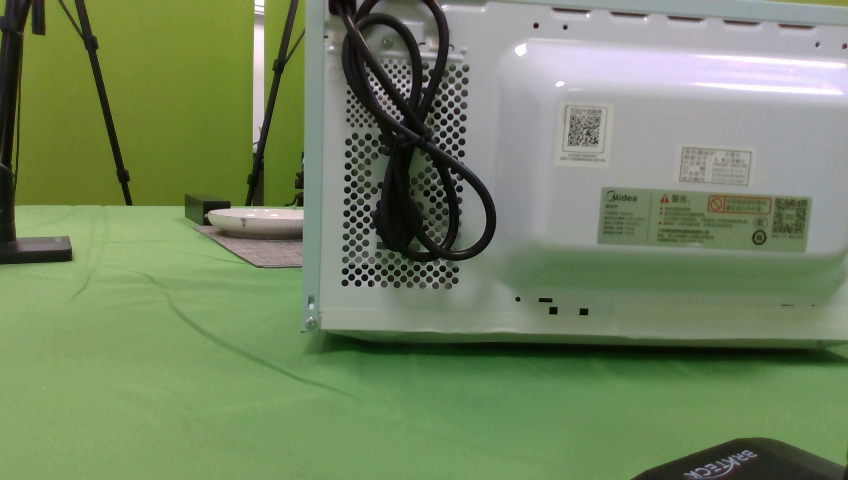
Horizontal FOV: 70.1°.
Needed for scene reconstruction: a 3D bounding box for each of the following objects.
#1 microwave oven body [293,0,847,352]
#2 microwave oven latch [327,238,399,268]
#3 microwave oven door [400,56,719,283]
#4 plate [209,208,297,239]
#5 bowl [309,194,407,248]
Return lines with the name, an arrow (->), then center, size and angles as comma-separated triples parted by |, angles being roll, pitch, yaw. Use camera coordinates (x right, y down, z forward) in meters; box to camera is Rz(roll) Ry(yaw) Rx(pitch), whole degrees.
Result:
microwave oven body -> 0.122, -0.055, 0.550 | 0.442, 0.260, 0.325 | 3, 7, -5
microwave oven latch -> -0.069, 0.015, 0.694 | 0.079, 0.029, 0.030 | 3, 7, -3
microwave oven door -> 0.155, -0.078, 0.698 | 0.356, 0.243, 0.039 | 2, 8, -5
plate -> -0.271, -0.029, 1.074 | 0.208, 0.039, 0.207 | 3, 7, 0
bowl -> -0.099, -0.028, 0.933 | 0.151, 0.077, 0.151 | -3, 2, 0
